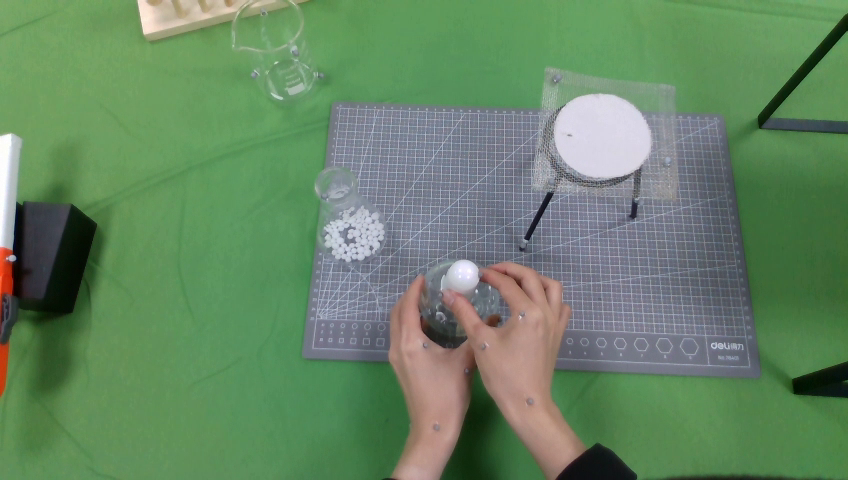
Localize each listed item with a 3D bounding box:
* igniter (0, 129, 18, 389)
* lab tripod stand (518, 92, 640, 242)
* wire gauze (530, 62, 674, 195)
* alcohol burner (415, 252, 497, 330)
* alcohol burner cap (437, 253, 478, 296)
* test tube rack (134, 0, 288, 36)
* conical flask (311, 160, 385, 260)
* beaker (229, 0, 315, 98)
[{"bbox_3d":[-0.411,0.018,0.574,0.057,0.025,0.274,-14,69,7],"label":"igniter"},{"bbox_3d":[0.151,-0.071,0.595,0.148,0.132,0.147,0,68,-1],"label":"lab tripod stand"},{"bbox_3d":[0.158,-0.099,0.533,0.121,0.011,0.124,8,70,2],"label":"wire gauze"},{"bbox_3d":[0.031,0.042,0.564,0.078,0.120,0.077,0,67,-1],"label":"alcohol burner"},{"bbox_3d":[0.031,0.028,0.531,0.034,0.048,0.033,3,70,-7],"label":"alcohol burner cap"},{"bbox_3d":[-0.235,-0.326,0.720,0.242,0.086,0.066,-17,70,-6],"label":"test tube rack"},{"bbox_3d":[-0.080,-0.033,0.588,0.075,0.122,0.075,0,69,1],"label":"conical flask"},{"bbox_3d":[-0.165,-0.210,0.670,0.084,0.101,0.073,-38,73,-13],"label":"beaker"}]
